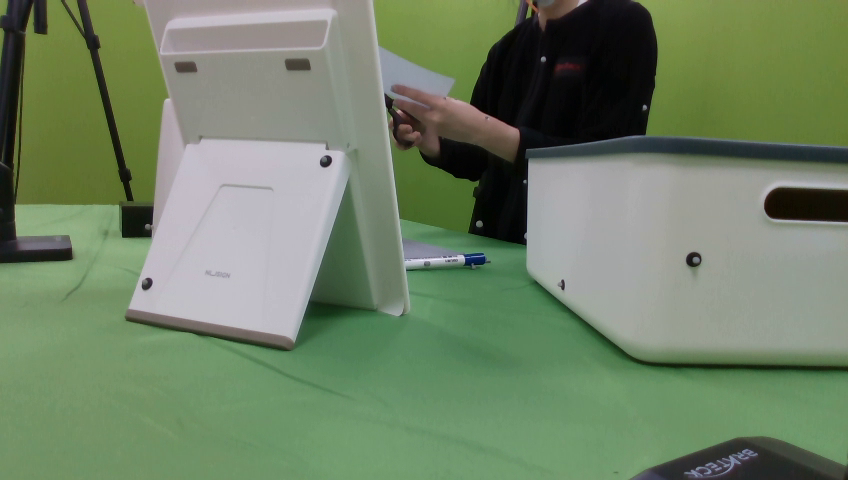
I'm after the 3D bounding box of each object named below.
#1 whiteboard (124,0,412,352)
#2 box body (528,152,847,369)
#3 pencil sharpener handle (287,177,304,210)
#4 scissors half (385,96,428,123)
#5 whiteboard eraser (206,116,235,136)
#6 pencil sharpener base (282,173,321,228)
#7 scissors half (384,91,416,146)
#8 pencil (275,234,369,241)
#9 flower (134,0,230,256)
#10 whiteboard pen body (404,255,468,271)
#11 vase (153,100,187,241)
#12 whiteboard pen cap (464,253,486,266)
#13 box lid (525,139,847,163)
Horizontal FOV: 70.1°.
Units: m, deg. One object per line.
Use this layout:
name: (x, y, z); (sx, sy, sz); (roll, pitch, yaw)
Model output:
whiteboard: (-0.151, -0.049, 0.472); (0.216, 0.305, 0.144); (6, 27, 24)
box body: (0.258, -0.005, 0.591); (0.254, 0.160, 0.363); (2, 7, -4)
pencil sharpener handle: (-0.269, -0.096, 1.257); (0.036, 0.067, 0.030); (-8, 8, -27)
scissors half: (-0.052, -0.245, 1.051); (0.013, 0.040, 0.176); (15, 2, 41)
whiteboard eraser: (-0.450, -0.252, 1.335); (0.056, 0.042, 0.112); (1, 7, -22)
pencil sharpener base: (-0.247, -0.080, 1.212); (0.061, 0.107, 0.076); (-2, 5, -28)
scissors half: (-0.062, -0.225, 1.048); (0.012, 0.040, 0.176); (22, -23, 42)
pencil: (-0.169, -0.006, 1.036); (0.195, 0.012, 0.012); (-2, 9, -45)
flower: (-0.282, -0.147, 0.713); (0.038, 0.362, 0.044); (-23, 24, -31)
whiteboard pen body: (0.012, 0.030, 0.792); (0.141, 0.017, 0.017); (-3, 9, -24)
vase: (-0.278, -0.066, 0.736); (0.098, 0.200, 0.098); (2, 9, 0)
whiteboard pen cap: (0.066, 0.027, 0.818); (0.033, 0.018, 0.018); (-6, 10, -24)
box lid: (0.261, -0.078, 0.580); (0.264, 0.015, 0.371); (2, 7, -4)
